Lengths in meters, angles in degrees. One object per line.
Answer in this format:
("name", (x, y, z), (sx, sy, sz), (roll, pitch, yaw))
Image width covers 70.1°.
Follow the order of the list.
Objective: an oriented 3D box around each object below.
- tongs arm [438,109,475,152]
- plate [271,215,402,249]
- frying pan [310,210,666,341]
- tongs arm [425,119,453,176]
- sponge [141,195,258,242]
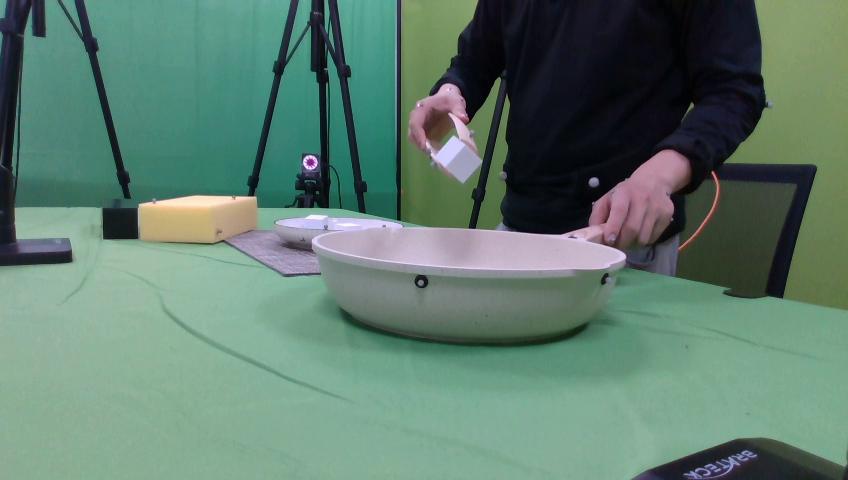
("tongs arm", (0.041, -0.149, 0.808), (0.028, 0.028, 0.387), (37, 12, -10))
("plate", (-0.141, -0.012, 0.978), (0.208, 0.039, 0.207), (2, 8, 0))
("frying pan", (0.120, 0.011, 0.643), (0.490, 0.102, 0.305), (-13, 16, -36))
("tongs arm", (0.025, -0.133, 0.813), (0.026, 0.050, 0.384), (40, 7, -11))
("sponge", (-0.380, -0.040, 1.047), (0.118, 0.061, 0.207), (1, 8, 3))
